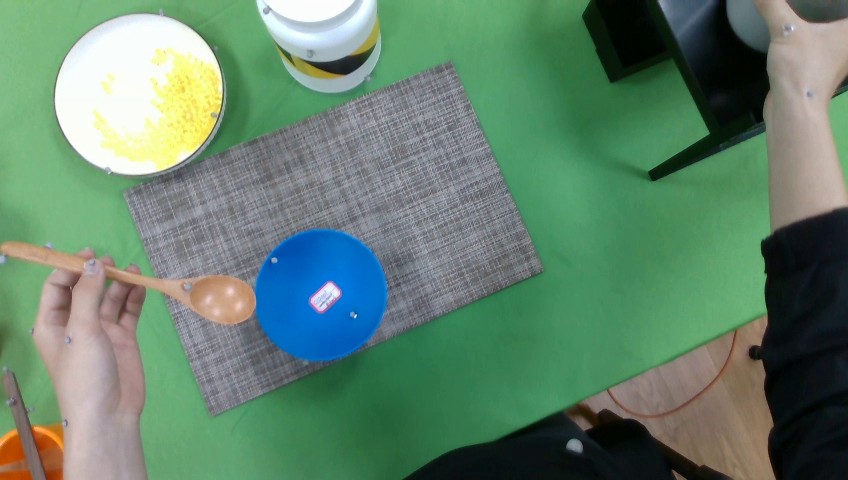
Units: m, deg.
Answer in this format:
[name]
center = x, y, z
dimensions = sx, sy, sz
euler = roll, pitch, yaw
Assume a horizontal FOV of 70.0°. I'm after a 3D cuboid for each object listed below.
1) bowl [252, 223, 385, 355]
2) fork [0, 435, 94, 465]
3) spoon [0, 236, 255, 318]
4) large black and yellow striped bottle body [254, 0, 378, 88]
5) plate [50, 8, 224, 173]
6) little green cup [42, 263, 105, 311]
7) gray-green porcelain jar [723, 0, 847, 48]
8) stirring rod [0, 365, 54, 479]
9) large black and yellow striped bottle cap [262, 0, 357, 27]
[bowl]
center = -0.120, 0.059, 0.722
dimensions = 0.151, 0.077, 0.151
euler = 0, 85, -2
[fork]
center = -0.475, 0.243, 0.658
dimensions = 0.209, 0.018, 0.028
euler = 2, 84, -46
[spoon]
center = -0.236, 0.026, 0.494
dimensions = 0.195, 0.021, 0.041
euler = 18, 91, -23
[large black and yellow striped bottle body]
center = -0.122, -0.269, 0.704
dimensions = 0.131, 0.184, 0.130
euler = 0, 84, -2
[plate]
center = -0.353, -0.183, 0.759
dimensions = 0.209, 0.038, 0.208
euler = 0, 85, -3
[little green cup]
center = -0.421, 0.056, 0.733
dimensions = 0.061, 0.038, 0.061
euler = 0, 85, -2
[gray-green porcelain jar]
center = 0.357, -0.250, 0.571
dimensions = 0.106, 0.126, 0.105
euler = 0, 84, -1
[stirring rod]
center = -0.426, 0.219, 0.660
dimensions = 0.014, 0.006, 0.176
euler = -22, 86, -3
[large black and yellow striped bottle cap]
center = -0.118, -0.277, 0.620
dimensions = 0.115, 0.019, 0.114
euler = 0, 85, -1
